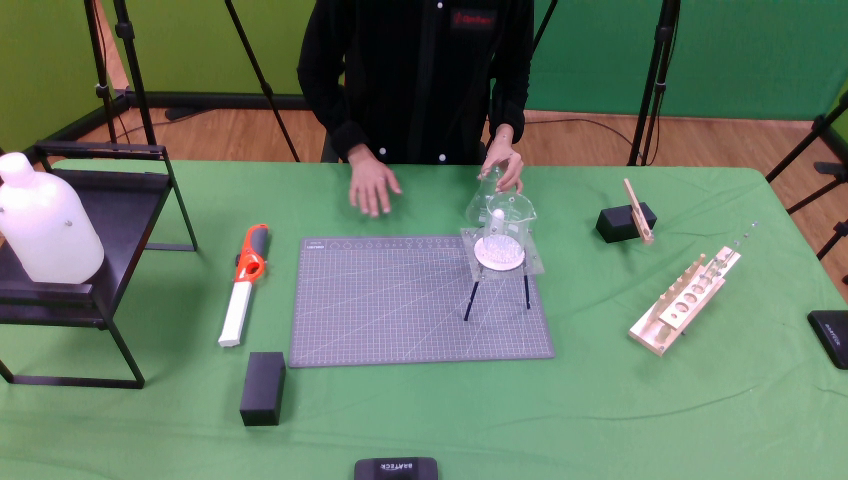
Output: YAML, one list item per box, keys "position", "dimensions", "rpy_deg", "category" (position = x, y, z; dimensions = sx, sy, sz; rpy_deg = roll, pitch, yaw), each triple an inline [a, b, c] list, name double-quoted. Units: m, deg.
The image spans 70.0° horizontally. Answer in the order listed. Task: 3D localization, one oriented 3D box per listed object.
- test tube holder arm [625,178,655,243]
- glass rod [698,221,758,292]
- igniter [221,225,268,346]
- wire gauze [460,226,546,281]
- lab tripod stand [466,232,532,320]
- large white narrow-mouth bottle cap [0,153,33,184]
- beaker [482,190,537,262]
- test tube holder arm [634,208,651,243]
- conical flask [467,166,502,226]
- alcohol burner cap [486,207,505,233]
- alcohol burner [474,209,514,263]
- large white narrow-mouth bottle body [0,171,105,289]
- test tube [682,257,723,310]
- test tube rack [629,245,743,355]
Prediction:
- position: [0.433, -0.063, 1.220]
  dimensions: [0.013, 0.015, 0.177]
  rpy_deg: [1, 47, -3]
  category: "test tube holder arm"
- position: [0.527, 0.035, 1.059]
  dimensions: [0.008, 0.200, 0.008]
  rpy_deg: [5, 49, -6]
  category: "glass rod"
- position: [-0.323, 0.072, 1.100]
  dimensions: [0.057, 0.025, 0.274]
  rpy_deg: [-6, 45, 5]
  category: "igniter"
- position: [0.130, 0.017, 1.016]
  dimensions: [0.121, 0.011, 0.124]
  rpy_deg: [-4, 43, -9]
  category: "wire gauze"
- position: [0.125, 0.059, 1.065]
  dimensions: [0.148, 0.132, 0.147]
  rpy_deg: [1, 45, 0]
  category: "lab tripod stand"
- position: [-0.510, -0.089, 0.754]
  dimensions: [0.038, 0.024, 0.037]
  rpy_deg: [2, 46, -2]
  category: "large white narrow-mouth bottle cap"
- position: [0.136, -0.019, 0.983]
  dimensions: [0.084, 0.101, 0.073]
  rpy_deg: [17, 47, 14]
  category: "beaker"
- position: [0.428, -0.030, 1.189]
  dimensions: [0.010, 0.015, 0.087]
  rpy_deg: [1, 47, -2]
  category: "test tube holder arm"
- position: [0.129, -0.091, 1.221]
  dimensions: [0.075, 0.122, 0.075]
  rpy_deg: [2, 49, -2]
  category: "conical flask"
- position: [0.135, -0.039, 1.125]
  dimensions: [0.034, 0.048, 0.033]
  rpy_deg: [4, 42, -4]
  category: "alcohol burner cap"
- position: [0.134, -0.013, 1.150]
  dimensions: [0.078, 0.120, 0.077]
  rpy_deg: [0, 47, 0]
  category: "alcohol burner"
- position: [-0.513, -0.029, 0.818]
  dimensions: [0.102, 0.195, 0.101]
  rpy_deg: [2, 46, -2]
  category: "large white narrow-mouth bottle body"
- position: [0.475, 0.080, 1.037]
  dimensions: [0.017, 0.151, 0.017]
  rpy_deg: [1, 50, -1]
  category: "test tube"
- position: [0.474, 0.095, 1.091]
  dimensions: [0.242, 0.085, 0.066]
  rpy_deg: [-34, 56, -31]
  category: "test tube rack"
